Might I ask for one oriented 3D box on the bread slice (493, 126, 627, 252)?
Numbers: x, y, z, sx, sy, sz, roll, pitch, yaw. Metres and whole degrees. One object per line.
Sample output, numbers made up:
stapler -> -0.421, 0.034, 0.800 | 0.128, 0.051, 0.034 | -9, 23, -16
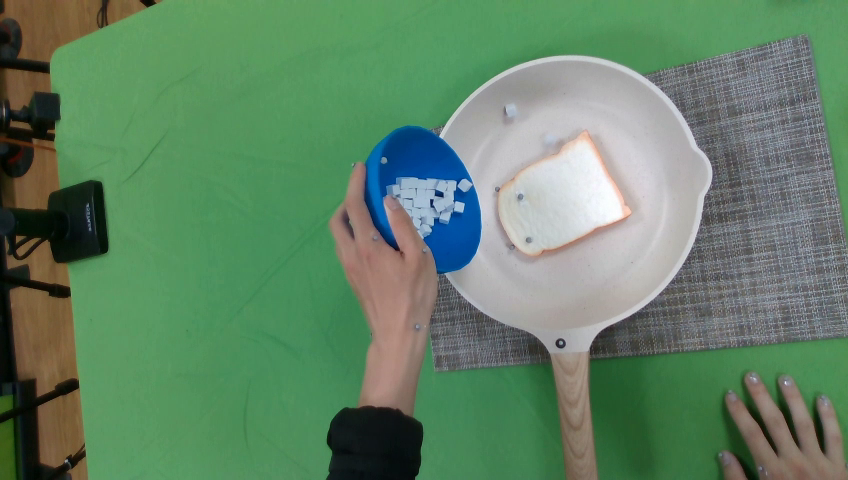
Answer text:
bread slice -> 0.146, -0.047, 0.685 | 0.134, 0.018, 0.106 | -32, 77, 15

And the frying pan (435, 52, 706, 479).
frying pan -> 0.142, 0.051, 0.640 | 0.306, 0.103, 0.485 | -7, 78, 23

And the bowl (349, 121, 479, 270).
bowl -> -0.022, -0.035, 0.607 | 0.076, 0.152, 0.151 | -20, 80, 39
